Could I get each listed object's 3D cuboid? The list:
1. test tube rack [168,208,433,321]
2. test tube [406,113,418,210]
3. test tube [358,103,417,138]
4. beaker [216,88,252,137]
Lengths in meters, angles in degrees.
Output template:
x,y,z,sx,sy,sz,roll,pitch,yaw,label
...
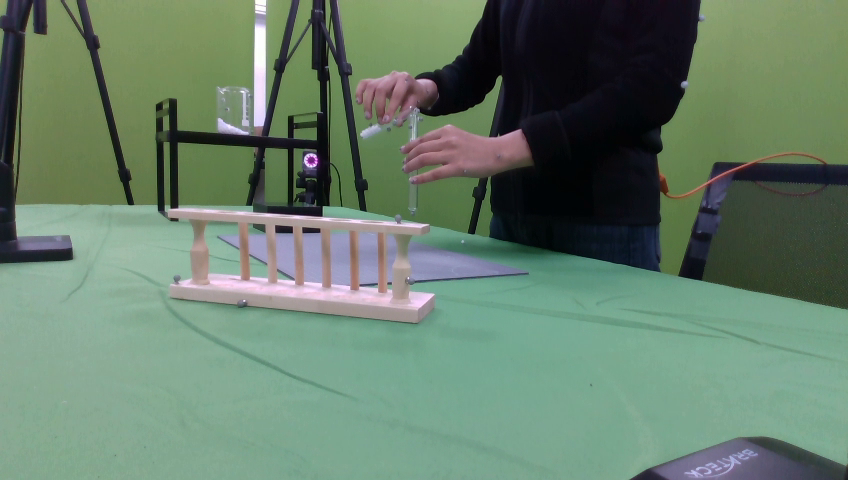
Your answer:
x,y,z,sx,sy,sz,roll,pitch,yaw,label
-0.116,0.017,0.574,0.242,0.085,0.067,4,8,13,test tube rack
-0.019,-0.121,0.929,0.017,0.150,0.017,0,-4,0,test tube
-0.063,-0.194,0.993,0.017,0.017,0.150,-4,-6,-40,test tube
-0.412,-0.276,1.310,0.074,0.100,0.084,4,8,16,beaker
